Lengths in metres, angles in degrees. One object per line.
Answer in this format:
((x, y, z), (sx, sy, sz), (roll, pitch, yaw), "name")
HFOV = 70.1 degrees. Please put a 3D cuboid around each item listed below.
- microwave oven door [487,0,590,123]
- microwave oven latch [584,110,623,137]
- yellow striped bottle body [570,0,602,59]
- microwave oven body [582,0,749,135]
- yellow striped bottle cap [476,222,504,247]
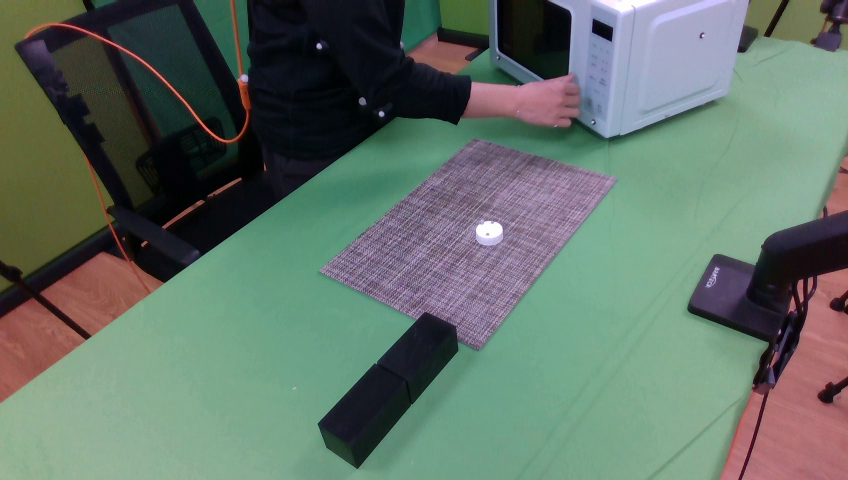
((0.231, -0.419, 1.230), (0.039, 0.245, 0.352), (-22, 43, -16), "microwave oven door")
((0.337, -0.222, 1.142), (0.030, 0.029, 0.078), (-21, 42, -15), "microwave oven latch")
((0.339, -0.448, 1.266), (0.063, 0.121, 0.062), (-5, 45, 6), "yellow striped bottle body")
((0.382, -0.445, 1.246), (0.327, 0.261, 0.437), (-22, 42, -16), "microwave oven body")
((0.105, -0.010, 0.966), (0.044, 0.019, 0.044), (-4, 39, 3), "yellow striped bottle cap")
